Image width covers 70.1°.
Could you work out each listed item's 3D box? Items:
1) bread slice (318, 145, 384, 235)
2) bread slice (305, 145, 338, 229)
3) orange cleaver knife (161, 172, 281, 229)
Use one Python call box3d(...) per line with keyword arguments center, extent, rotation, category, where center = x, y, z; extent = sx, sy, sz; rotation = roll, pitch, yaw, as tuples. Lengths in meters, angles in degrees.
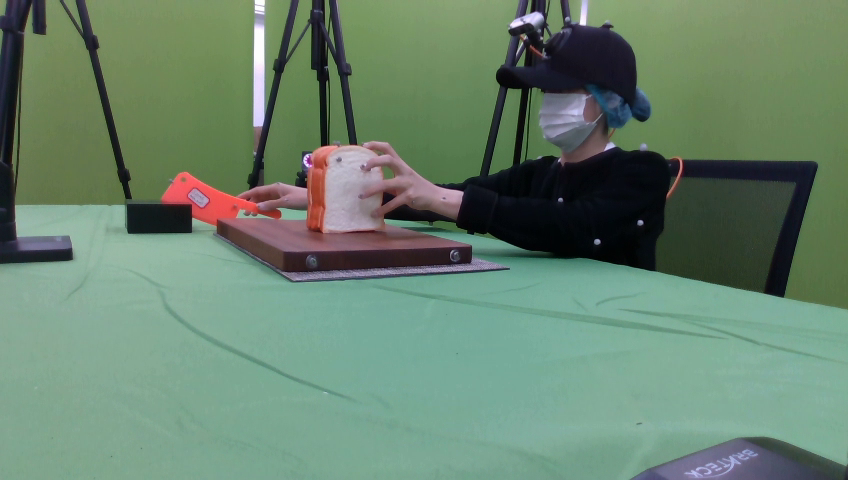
box3d(center=(-0.112, -0.075, 0.917), extent=(0.107, 0.134, 0.018), rotation=(-8, 13, -34), category="bread slice")
box3d(center=(-0.138, -0.083, 0.960), extent=(0.105, 0.131, 0.019), rotation=(-1, 5, -33), category="bread slice")
box3d(center=(-0.372, -0.061, 1.121), extent=(0.212, 0.077, 0.012), rotation=(20, -6, -30), category="orange cleaver knife")
